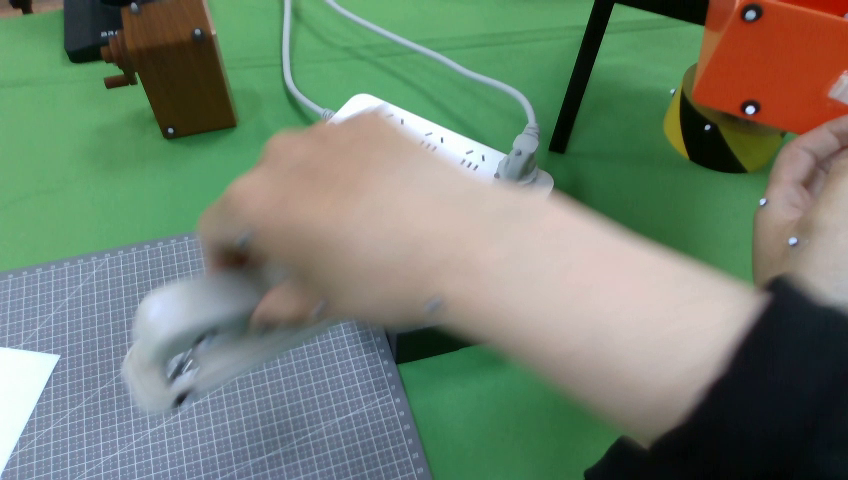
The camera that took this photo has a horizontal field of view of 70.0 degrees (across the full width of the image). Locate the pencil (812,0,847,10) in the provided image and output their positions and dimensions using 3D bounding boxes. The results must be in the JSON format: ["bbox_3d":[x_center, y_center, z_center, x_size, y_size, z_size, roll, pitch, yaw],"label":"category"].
[{"bbox_3d":[0.275,-0.157,0.405,0.194,0.012,0.012,-7,56,-13],"label":"pencil"}]

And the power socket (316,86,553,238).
[{"bbox_3d":[0.009,-0.073,0.543,0.226,0.033,0.072,26,57,14],"label":"power socket"}]

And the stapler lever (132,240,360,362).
[{"bbox_3d":[-0.086,0.026,0.309,0.118,0.040,0.026,-25,66,-32],"label":"stapler lever"}]

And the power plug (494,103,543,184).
[{"bbox_3d":[0.089,-0.075,0.522,0.035,0.053,0.072,36,60,19],"label":"power plug"}]

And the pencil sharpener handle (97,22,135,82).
[{"bbox_3d":[-0.267,-0.155,0.514,0.031,0.068,0.036,-16,79,-14],"label":"pencil sharpener handle"}]

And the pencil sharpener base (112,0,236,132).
[{"bbox_3d":[-0.218,-0.156,0.535,0.077,0.108,0.060,-16,58,-14],"label":"pencil sharpener base"}]

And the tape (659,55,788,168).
[{"bbox_3d":[0.298,-0.130,0.595,0.117,0.053,0.116,2,56,-3],"label":"tape"}]

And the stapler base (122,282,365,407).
[{"bbox_3d":[-0.093,0.042,0.328,0.131,0.024,0.041,-25,66,-32],"label":"stapler base"}]

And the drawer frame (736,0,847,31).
[{"bbox_3d":[0.323,-0.238,0.434,0.201,0.083,0.212,18,55,8],"label":"drawer frame"}]

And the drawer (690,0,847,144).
[{"bbox_3d":[0.281,-0.147,0.370,0.194,0.074,0.210,20,55,9],"label":"drawer"}]
